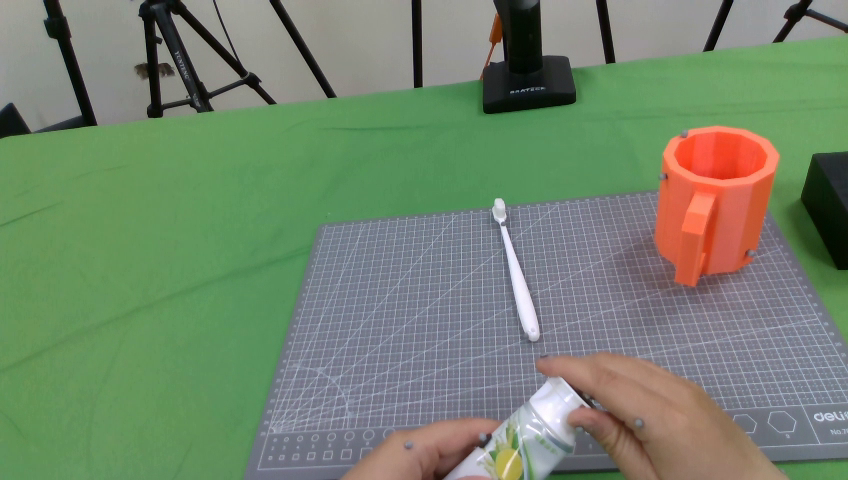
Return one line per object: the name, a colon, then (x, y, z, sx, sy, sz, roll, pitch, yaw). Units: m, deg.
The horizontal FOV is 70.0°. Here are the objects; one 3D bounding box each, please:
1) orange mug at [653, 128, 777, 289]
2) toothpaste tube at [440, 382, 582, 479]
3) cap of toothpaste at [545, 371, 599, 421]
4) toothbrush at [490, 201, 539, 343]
orange mug: (0.236, -0.022, 0.509, 0.083, 0.102, 0.126, 15, 43, 29)
toothpaste tube: (0.030, 0.147, 0.355, 0.165, 0.035, 0.054, -48, 55, 4)
cap of toothpaste: (0.084, 0.091, 0.347, 0.011, 0.038, 0.037, -47, 44, 5)
toothbrush: (0.082, 0.023, 0.561, 0.014, 0.017, 0.180, 1, 41, -8)
